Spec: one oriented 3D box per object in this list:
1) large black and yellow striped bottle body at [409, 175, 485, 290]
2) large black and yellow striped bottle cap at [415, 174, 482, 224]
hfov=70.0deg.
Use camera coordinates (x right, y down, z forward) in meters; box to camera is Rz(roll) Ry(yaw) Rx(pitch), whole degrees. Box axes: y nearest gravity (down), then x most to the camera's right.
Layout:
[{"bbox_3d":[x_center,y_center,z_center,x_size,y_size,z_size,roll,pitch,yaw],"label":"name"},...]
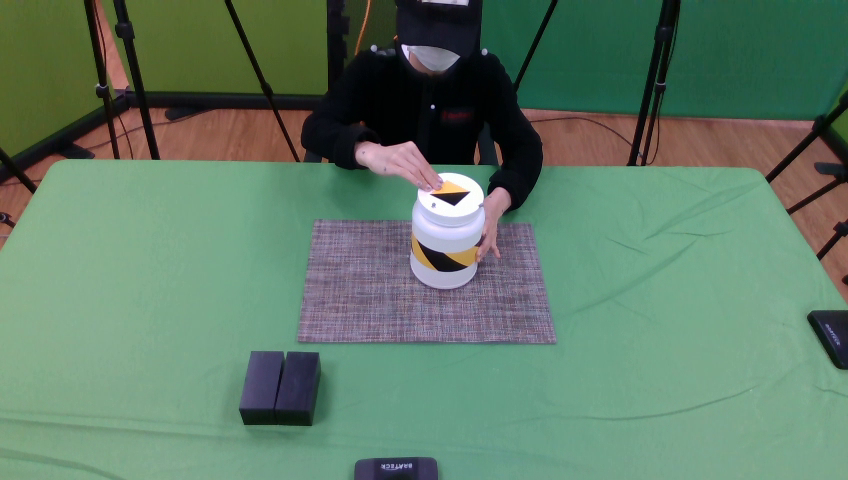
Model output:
[{"bbox_3d":[0.040,-0.013,1.097,0.131,0.185,0.130,2,46,-2],"label":"large black and yellow striped bottle body"},{"bbox_3d":[0.043,-0.072,1.037,0.115,0.019,0.114,3,44,-2],"label":"large black and yellow striped bottle cap"}]
